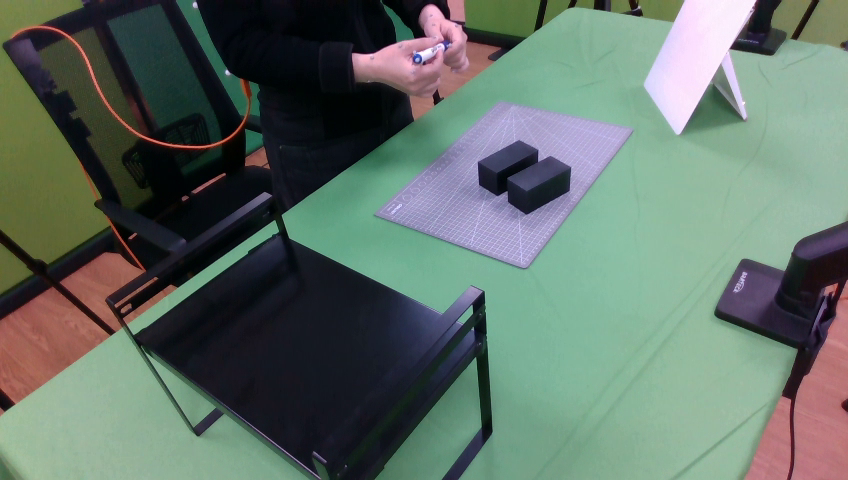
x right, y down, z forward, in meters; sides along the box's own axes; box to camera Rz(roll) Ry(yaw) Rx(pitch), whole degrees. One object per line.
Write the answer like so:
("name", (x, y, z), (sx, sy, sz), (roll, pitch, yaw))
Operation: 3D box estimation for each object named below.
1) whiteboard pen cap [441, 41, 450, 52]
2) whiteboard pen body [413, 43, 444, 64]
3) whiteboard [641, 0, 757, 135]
("whiteboard pen cap", (0.032, -0.329, 1.034), (0.018, 0.018, 0.033), (8, 24, 17))
("whiteboard pen body", (0.013, -0.306, 0.984), (0.017, 0.017, 0.141), (9, 28, 18))
("whiteboard", (0.575, -0.367, 1.147), (0.144, 0.305, 0.216), (10, 39, -9))
